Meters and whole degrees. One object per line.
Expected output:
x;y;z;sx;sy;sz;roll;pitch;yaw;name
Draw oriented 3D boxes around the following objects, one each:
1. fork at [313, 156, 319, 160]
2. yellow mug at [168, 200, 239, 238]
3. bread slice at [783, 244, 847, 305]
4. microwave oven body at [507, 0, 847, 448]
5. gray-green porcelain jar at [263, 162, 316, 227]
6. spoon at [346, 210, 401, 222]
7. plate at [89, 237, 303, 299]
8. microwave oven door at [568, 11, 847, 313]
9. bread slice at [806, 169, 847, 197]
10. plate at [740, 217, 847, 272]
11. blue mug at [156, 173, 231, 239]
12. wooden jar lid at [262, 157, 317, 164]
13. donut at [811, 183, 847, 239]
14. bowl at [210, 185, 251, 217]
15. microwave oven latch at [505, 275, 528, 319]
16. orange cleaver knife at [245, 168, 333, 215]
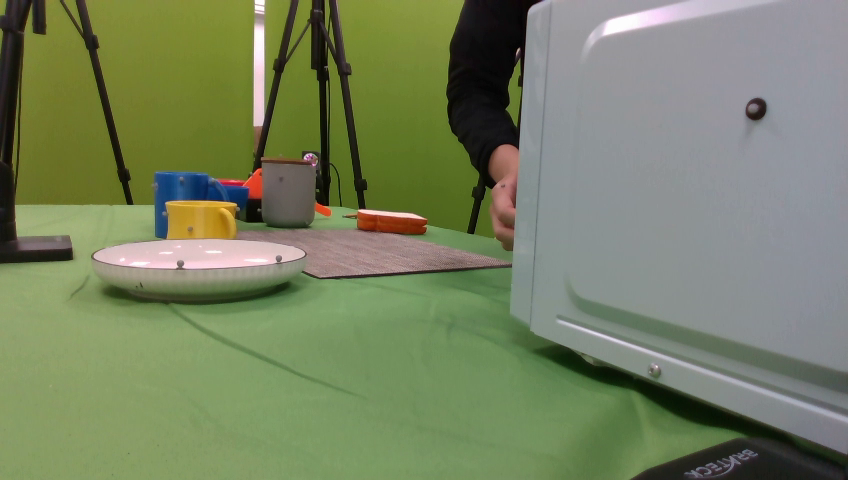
-0.330;-0.144;1.505;0.207;0.018;0.028;-42;-19;22;fork
-0.319;-0.023;0.903;0.130;0.064;0.100;8;10;36;yellow mug
0.370;0.018;0.472;0.132;0.019;0.104;-21;10;-13;bread slice
0.331;-0.042;0.425;0.444;0.260;0.324;-2;8;-31;microwave oven body
-0.270;-0.092;1.217;0.106;0.126;0.106;2;7;0;gray-green porcelain jar
-0.120;-0.059;1.400;0.042;0.021;0.192;-27;24;-38;spoon
-0.233;0.029;0.636;0.208;0.039;0.207;2;7;0;plate
0.291;-0.068;0.576;0.358;0.243;0.039;-2;8;-29;microwave oven door
0.365;-0.051;0.453;0.135;0.018;0.106;-10;1;-22;bread slice
0.359;0.002;0.464;0.209;0.038;0.209;0;4;0;plate
-0.380;-0.057;1.004;0.117;0.106;0.082;1;8;-12;blue mug
-0.269;-0.154;1.208;0.108;0.020;0.108;3;4;0;wooden jar lid
0.353;-0.026;0.463;0.099;0.048;0.099;-10;3;1;donut
-0.408;-0.064;1.154;0.151;0.077;0.151;2;8;0;bowl
0.100;0.042;0.470;0.079;0.029;0.030;-1;7;-28;microwave oven latch
-0.300;-0.089;1.351;0.212;0.077;0.012;28;-9;-34;orange cleaver knife
